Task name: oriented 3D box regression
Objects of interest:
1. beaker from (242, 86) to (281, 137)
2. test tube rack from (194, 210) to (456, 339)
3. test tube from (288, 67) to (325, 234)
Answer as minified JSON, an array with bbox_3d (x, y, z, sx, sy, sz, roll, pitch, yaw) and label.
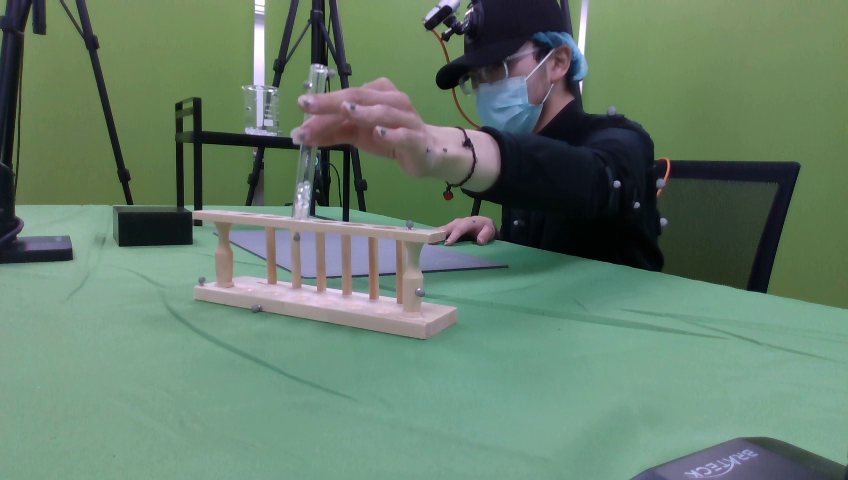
[{"bbox_3d":[-0.338,-0.265,1.252,0.073,0.100,0.084,8,9,38],"label":"beaker"},{"bbox_3d":[-0.093,0.023,0.545,0.241,0.085,0.067,6,8,25],"label":"test tube rack"},{"bbox_3d":[-0.105,-0.080,0.538,0.017,0.150,0.017,7,-2,1],"label":"test tube"}]
